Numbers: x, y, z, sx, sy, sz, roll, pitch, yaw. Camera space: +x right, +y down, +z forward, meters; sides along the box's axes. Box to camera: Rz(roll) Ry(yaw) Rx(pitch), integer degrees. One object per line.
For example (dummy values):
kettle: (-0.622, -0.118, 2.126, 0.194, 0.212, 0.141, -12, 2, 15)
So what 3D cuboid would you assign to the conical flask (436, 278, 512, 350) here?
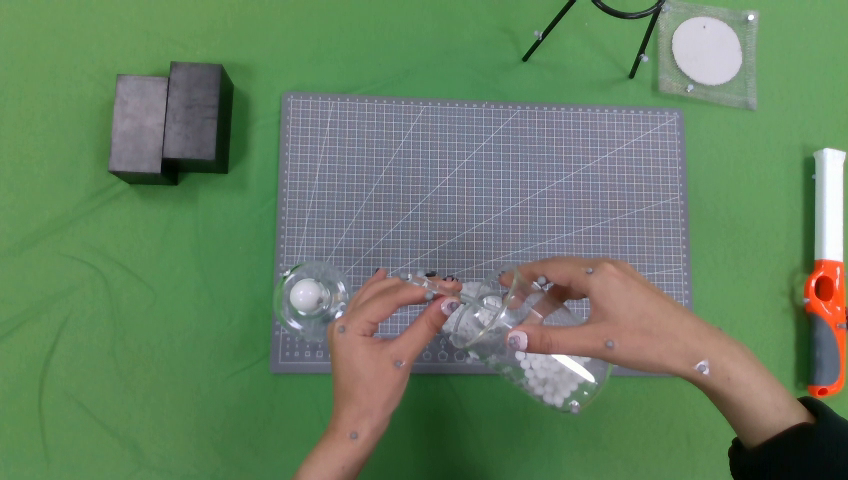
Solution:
conical flask: (0.053, 0.069, 0.583, 0.075, 0.122, 0.075, 1, 81, -4)

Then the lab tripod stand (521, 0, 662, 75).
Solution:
lab tripod stand: (0.182, -0.242, 0.634, 0.148, 0.131, 0.148, 0, 84, -4)

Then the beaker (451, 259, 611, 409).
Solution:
beaker: (0.080, 0.072, 0.451, 0.101, 0.083, 0.074, 36, 84, -11)

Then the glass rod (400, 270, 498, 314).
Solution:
glass rod: (0.026, 0.043, 0.470, 0.008, 0.201, 0.008, -6, 75, 22)

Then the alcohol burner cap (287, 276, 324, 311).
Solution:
alcohol burner cap: (-0.106, 0.048, 0.540, 0.034, 0.048, 0.034, 1, 85, -8)

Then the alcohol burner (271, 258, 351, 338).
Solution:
alcohol burner: (-0.109, 0.054, 0.575, 0.078, 0.119, 0.077, 0, 81, -2)

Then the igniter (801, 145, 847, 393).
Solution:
igniter: (0.444, 0.030, 0.672, 0.057, 0.025, 0.275, 8, 82, -14)

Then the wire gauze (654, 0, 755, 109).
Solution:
wire gauze: (0.327, -0.221, 0.707, 0.125, 0.011, 0.121, 7, 82, -6)
